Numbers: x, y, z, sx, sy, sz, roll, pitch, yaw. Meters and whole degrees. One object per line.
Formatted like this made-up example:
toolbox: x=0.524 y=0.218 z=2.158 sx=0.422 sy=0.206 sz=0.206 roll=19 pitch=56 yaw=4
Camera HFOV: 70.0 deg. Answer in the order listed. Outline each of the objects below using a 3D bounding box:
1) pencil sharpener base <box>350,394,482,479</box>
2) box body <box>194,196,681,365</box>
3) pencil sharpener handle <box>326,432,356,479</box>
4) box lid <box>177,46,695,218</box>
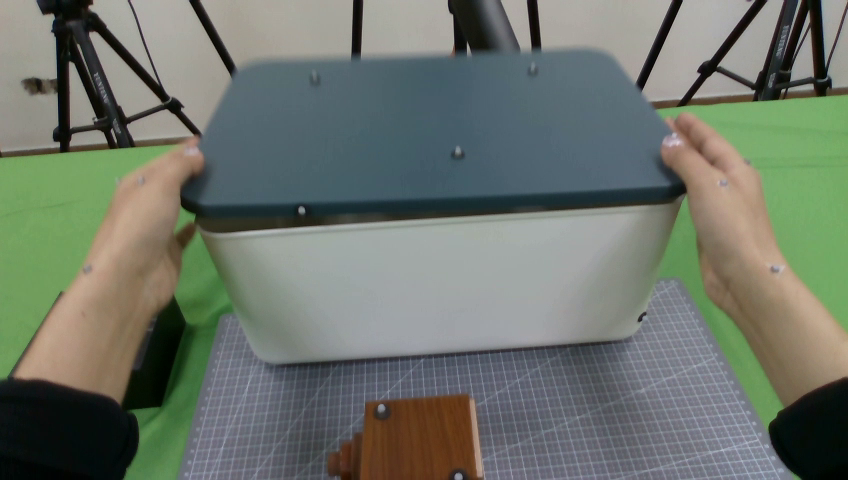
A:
pencil sharpener base: x=-0.003 y=0.156 z=0.390 sx=0.077 sy=0.108 sz=0.061 roll=-4 pitch=40 yaw=1
box body: x=0.012 y=-0.029 z=0.574 sx=0.364 sy=0.162 sz=0.251 roll=-4 pitch=39 yaw=-1
pencil sharpener handle: x=-0.055 y=0.149 z=0.383 sx=0.030 sy=0.068 sz=0.035 roll=-4 pitch=42 yaw=1
box lid: x=0.004 y=-0.104 z=0.509 sx=0.372 sy=0.015 sz=0.260 roll=-2 pitch=39 yaw=-2
